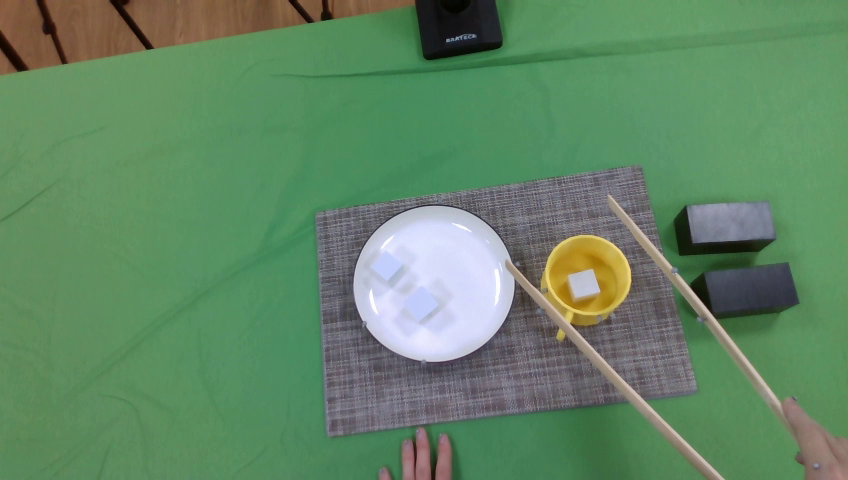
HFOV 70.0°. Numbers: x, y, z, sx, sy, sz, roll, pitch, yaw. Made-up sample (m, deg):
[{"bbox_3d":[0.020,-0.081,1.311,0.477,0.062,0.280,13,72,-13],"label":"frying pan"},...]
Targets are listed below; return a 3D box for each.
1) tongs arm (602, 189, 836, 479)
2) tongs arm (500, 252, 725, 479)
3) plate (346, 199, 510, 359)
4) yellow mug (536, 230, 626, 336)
[{"bbox_3d":[0.258,0.096,0.565,0.051,0.027,0.380,-28,55,-3],"label":"tongs arm"},{"bbox_3d":[0.195,0.134,0.560,0.028,0.028,0.383,-35,56,-12],"label":"tongs arm"},{"bbox_3d":[0.005,0.050,0.776,0.207,0.039,0.206,-1,72,5],"label":"plate"},{"bbox_3d":[0.184,0.058,0.741,0.099,0.064,0.130,23,76,12],"label":"yellow mug"}]
